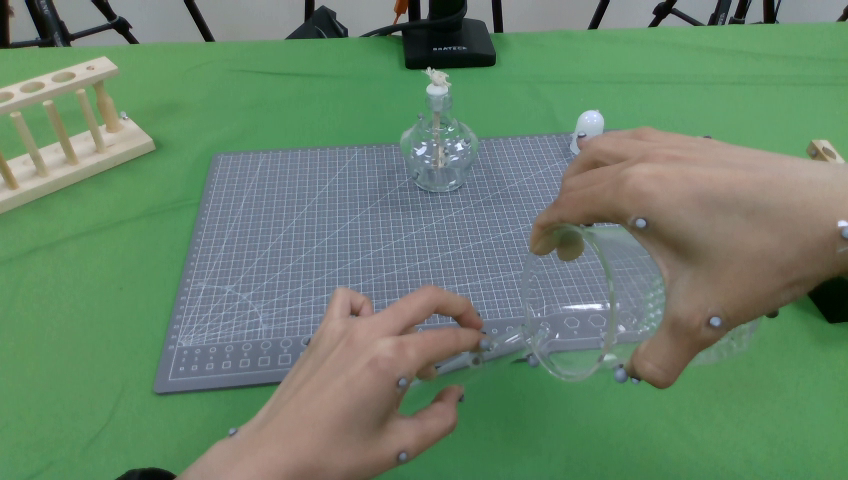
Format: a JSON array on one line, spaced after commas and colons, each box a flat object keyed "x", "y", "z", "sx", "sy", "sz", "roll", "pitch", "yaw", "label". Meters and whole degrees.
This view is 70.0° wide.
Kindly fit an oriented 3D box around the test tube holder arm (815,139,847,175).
[{"x": 0.371, "y": -0.030, "z": 0.506, "sx": 0.013, "sy": 0.015, "sz": 0.176, "roll": -7, "pitch": 43, "yaw": 3, "label": "test tube holder arm"}]

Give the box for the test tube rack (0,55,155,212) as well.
[{"x": -0.400, "y": -0.090, "z": 0.582, "sx": 0.242, "sy": 0.086, "sz": 0.066, "roll": -32, "pitch": 52, "yaw": -30, "label": "test tube rack"}]

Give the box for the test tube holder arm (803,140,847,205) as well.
[{"x": 0.364, "y": -0.060, "z": 0.539, "sx": 0.010, "sy": 0.015, "sz": 0.087, "roll": -7, "pitch": 43, "yaw": 4, "label": "test tube holder arm"}]

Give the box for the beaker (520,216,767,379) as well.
[{"x": 0.109, "y": 0.029, "z": 0.305, "sx": 0.101, "sy": 0.084, "sz": 0.073, "roll": -1, "pitch": 58, "yaw": -21, "label": "beaker"}]

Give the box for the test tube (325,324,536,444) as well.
[{"x": -0.002, "y": 0.086, "z": 0.348, "sx": 0.150, "sy": 0.017, "sz": 0.017, "roll": -33, "pitch": 37, "yaw": 25, "label": "test tube"}]

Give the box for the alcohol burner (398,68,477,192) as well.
[{"x": 0.012, "y": -0.107, "z": 0.580, "sx": 0.078, "sy": 0.120, "sz": 0.077, "roll": -1, "pitch": 42, "yaw": 1, "label": "alcohol burner"}]

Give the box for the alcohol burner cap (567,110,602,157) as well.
[{"x": 0.172, "y": -0.116, "z": 0.644, "sx": 0.034, "sy": 0.048, "sz": 0.033, "roll": 0, "pitch": 43, "yaw": 0, "label": "alcohol burner cap"}]
